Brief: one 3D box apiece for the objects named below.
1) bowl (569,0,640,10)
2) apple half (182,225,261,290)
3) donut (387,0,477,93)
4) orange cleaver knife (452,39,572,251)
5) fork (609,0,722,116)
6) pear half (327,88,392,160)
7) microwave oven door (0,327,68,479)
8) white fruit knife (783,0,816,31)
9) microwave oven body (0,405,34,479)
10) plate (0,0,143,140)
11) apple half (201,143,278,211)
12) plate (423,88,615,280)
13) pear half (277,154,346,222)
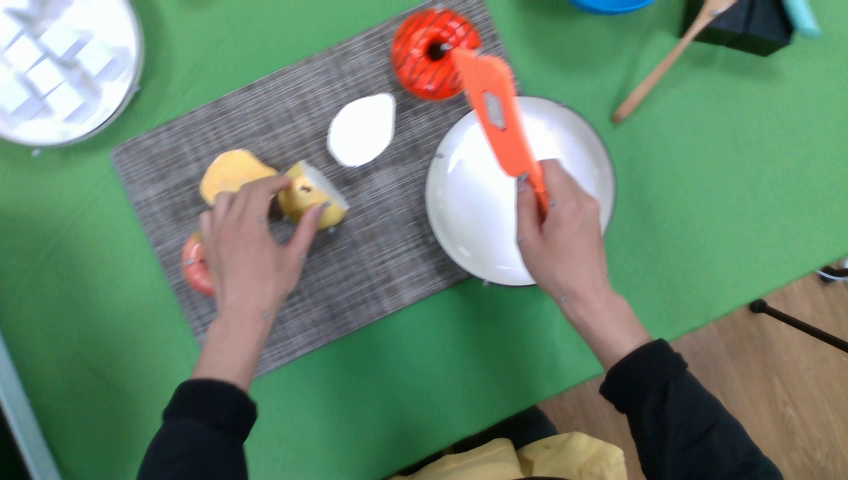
[{"bbox_3d":[0.188,-0.312,0.646,0.151,0.077,0.151,0,92,-1],"label":"bowl"},{"bbox_3d":[-0.222,0.025,0.651,0.081,0.074,0.053,30,95,-5],"label":"apple half"},{"bbox_3d":[0.009,-0.210,0.660,0.099,0.048,0.099,0,93,2],"label":"donut"},{"bbox_3d":[0.080,-0.081,0.543,0.012,0.076,0.213,-36,118,-13],"label":"orange cleaver knife"},{"bbox_3d":[0.270,-0.216,0.646,0.028,0.018,0.208,34,112,-9],"label":"fork"},{"bbox_3d":[-0.066,-0.127,0.668,0.070,0.031,0.088,42,91,8],"label":"pear half"},{"bbox_3d":[-0.447,0.187,0.555,0.039,0.243,0.356,-23,91,0],"label":"microwave oven door"},{"bbox_3d":[0.359,-0.313,0.630,0.027,0.016,0.207,-23,90,-29],"label":"white fruit knife"},{"bbox_3d":[-0.598,0.203,0.559,0.326,0.260,0.442,-22,92,0],"label":"microwave oven body"},{"bbox_3d":[-0.409,-0.212,0.663,0.208,0.039,0.207,0,92,-1],"label":"plate"},{"bbox_3d":[-0.203,-0.063,0.665,0.081,0.033,0.080,4,68,-10],"label":"apple half"},{"bbox_3d":[0.103,-0.060,0.669,0.209,0.038,0.209,0,92,-1],"label":"plate"},{"bbox_3d":[-0.125,-0.048,0.631,0.076,0.110,0.056,42,93,3],"label":"pear half"}]
